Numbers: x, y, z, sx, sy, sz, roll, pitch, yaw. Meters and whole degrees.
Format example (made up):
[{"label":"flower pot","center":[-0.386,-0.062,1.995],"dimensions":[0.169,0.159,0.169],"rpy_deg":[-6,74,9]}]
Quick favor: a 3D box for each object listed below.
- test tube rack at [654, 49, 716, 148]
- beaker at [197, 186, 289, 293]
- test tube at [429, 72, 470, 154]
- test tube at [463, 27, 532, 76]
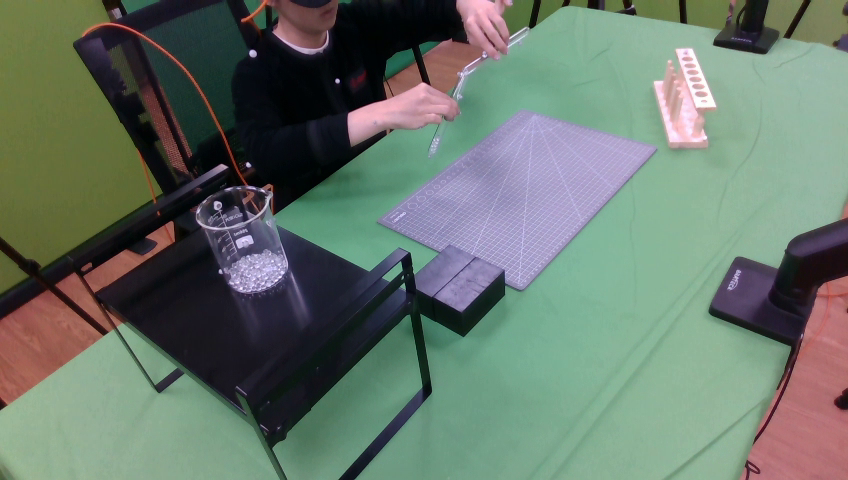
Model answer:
[{"label":"test tube rack","center":[0.502,-0.281,1.176],"dimensions":[0.066,0.085,0.241],"rpy_deg":[1,41,11]},{"label":"beaker","center":[-0.192,0.001,0.666],"dimensions":[0.084,0.101,0.073],"rpy_deg":[-33,47,-27]},{"label":"test tube","center":[0.043,-0.217,1.044],"dimensions":[0.017,0.150,0.017],"rpy_deg":[22,18,-7]},{"label":"test tube","center":[0.128,-0.325,1.039],"dimensions":[0.151,0.017,0.017],"rpy_deg":[-37,47,-15]}]
